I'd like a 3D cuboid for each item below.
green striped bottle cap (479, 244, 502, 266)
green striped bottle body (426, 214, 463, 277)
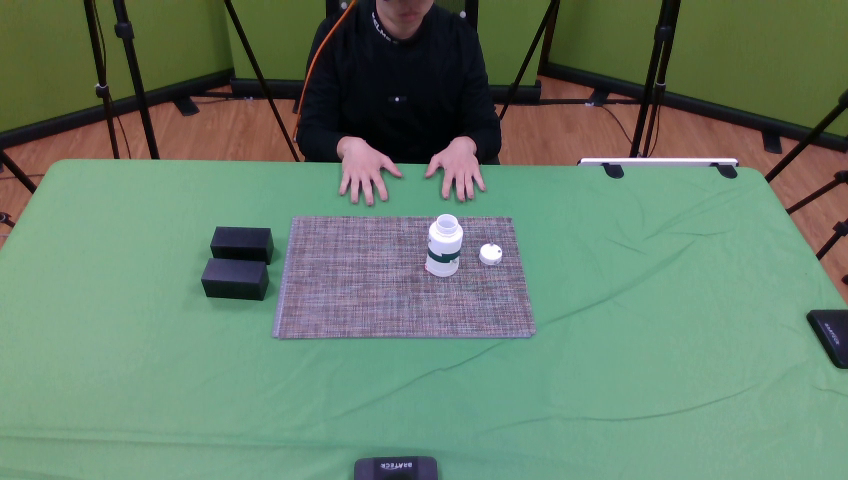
[{"bbox_3d":[0.130,0.029,1.181,0.044,0.020,0.044,1,46,0],"label":"green striped bottle cap"},{"bbox_3d":[0.037,0.008,1.121,0.063,0.120,0.063,2,46,-2],"label":"green striped bottle body"}]
